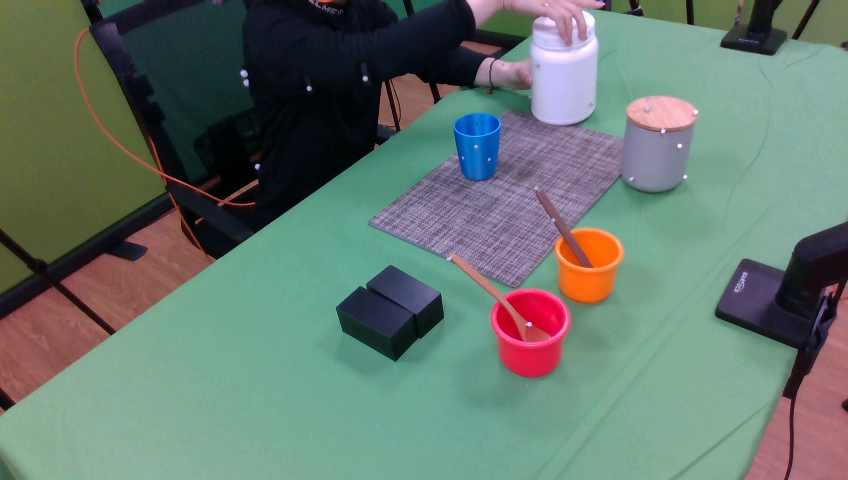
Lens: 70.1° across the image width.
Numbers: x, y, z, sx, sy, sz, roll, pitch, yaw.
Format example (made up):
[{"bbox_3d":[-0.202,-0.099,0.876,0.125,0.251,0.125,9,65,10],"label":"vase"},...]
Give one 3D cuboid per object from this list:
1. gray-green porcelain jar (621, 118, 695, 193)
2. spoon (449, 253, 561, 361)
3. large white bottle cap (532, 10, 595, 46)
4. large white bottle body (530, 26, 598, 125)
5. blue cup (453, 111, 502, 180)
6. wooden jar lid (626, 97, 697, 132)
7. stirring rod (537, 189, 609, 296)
[{"bbox_3d":[0.389,-0.152,1.016,0.106,0.127,0.105,-4,40,4],"label":"gray-green porcelain jar"},{"bbox_3d":[0.103,0.083,0.770,0.194,0.021,0.042,47,53,-7],"label":"spoon"},{"bbox_3d":[0.261,-0.397,1.131,0.115,0.018,0.114,-6,43,6],"label":"large white bottle cap"},{"bbox_3d":[0.274,-0.336,1.191,0.130,0.185,0.130,-6,43,6],"label":"large white bottle body"},{"bbox_3d":[0.097,-0.166,1.088,0.092,0.100,0.092,-3,41,3],"label":"blue cup"},{"bbox_3d":[0.382,-0.198,0.976,0.108,0.021,0.108,-2,40,3],"label":"wooden jar lid"},{"bbox_3d":[0.210,0.003,0.855,0.014,0.006,0.176,-32,88,-30],"label":"stirring rod"}]
